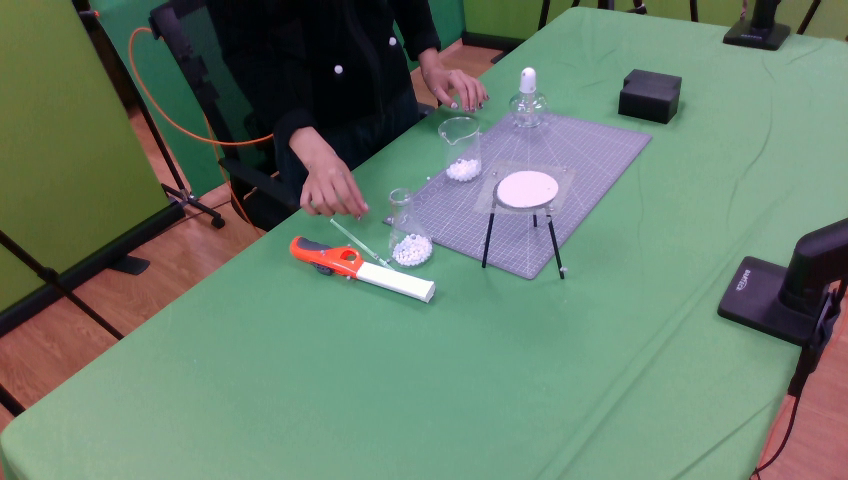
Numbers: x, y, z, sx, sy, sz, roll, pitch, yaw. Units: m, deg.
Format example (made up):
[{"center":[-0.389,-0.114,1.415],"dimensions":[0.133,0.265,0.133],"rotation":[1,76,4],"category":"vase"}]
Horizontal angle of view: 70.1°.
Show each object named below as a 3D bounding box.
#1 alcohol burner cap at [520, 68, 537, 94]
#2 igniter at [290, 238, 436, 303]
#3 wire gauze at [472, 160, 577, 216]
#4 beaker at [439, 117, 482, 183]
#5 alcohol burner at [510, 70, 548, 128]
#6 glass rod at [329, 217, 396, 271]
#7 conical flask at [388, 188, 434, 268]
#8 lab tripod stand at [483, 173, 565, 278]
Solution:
[{"center":[0.205,-0.313,1.183],"dimensions":[0.034,0.048,0.033],"rotation":[-3,50,4],"category":"alcohol burner cap"},{"center":[-0.106,0.044,0.949],"dimensions":[0.274,0.025,0.057],"rotation":[16,57,27],"category":"igniter"},{"center":[0.143,-0.073,0.850],"dimensions":[0.121,0.011,0.125],"rotation":[8,43,22],"category":"wire gauze"},{"center":[0.068,-0.160,1.097],"dimensions":[0.073,0.101,0.084],"rotation":[7,43,19],"category":"beaker"},{"center":[0.209,-0.287,1.208],"dimensions":[0.078,0.119,0.077],"rotation":[-5,42,5],"category":"alcohol burner"},{"center":[-0.105,0.006,1.009],"dimensions":[0.008,0.008,0.198],"rotation":[-32,45,-24],"category":"glass rod"},{"center":[-0.028,-0.021,0.937],"dimensions":[0.075,0.122,0.075],"rotation":[-6,40,5],"category":"conical flask"},{"center":[0.151,-0.025,0.896],"dimensions":[0.148,0.132,0.147],"rotation":[-7,40,6],"category":"lab tripod stand"}]
